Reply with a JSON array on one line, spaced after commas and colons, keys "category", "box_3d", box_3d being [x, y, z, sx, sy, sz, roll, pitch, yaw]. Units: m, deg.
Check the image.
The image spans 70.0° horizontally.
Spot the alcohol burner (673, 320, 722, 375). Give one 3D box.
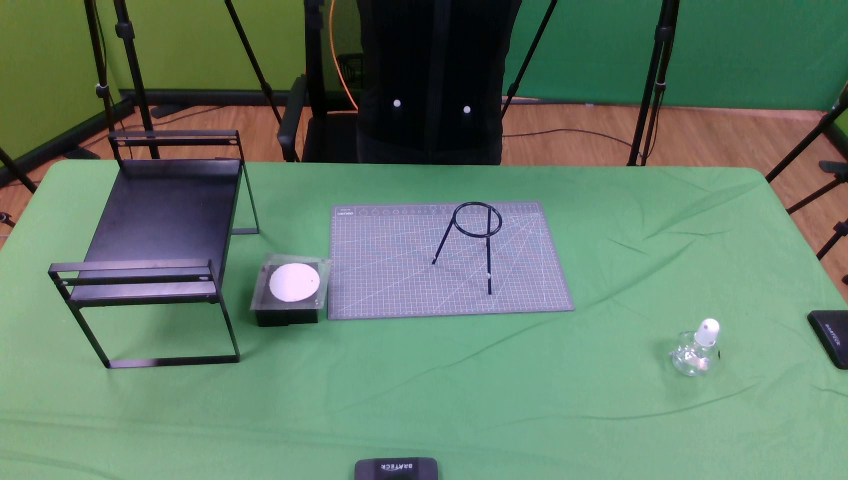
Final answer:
[{"category": "alcohol burner", "box_3d": [0.458, 0.170, 1.002, 0.078, 0.120, 0.077, 2, 45, -1]}]

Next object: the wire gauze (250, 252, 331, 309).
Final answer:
[{"category": "wire gauze", "box_3d": [-0.229, 0.071, 1.052, 0.121, 0.011, 0.124, 4, 47, -2]}]

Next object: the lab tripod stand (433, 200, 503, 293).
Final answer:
[{"category": "lab tripod stand", "box_3d": [0.095, 0.006, 1.116, 0.148, 0.132, 0.147, 3, 46, -3]}]

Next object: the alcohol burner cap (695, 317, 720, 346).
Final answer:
[{"category": "alcohol burner cap", "box_3d": [0.459, 0.145, 0.975, 0.034, 0.048, 0.033, -3, 45, 3]}]
